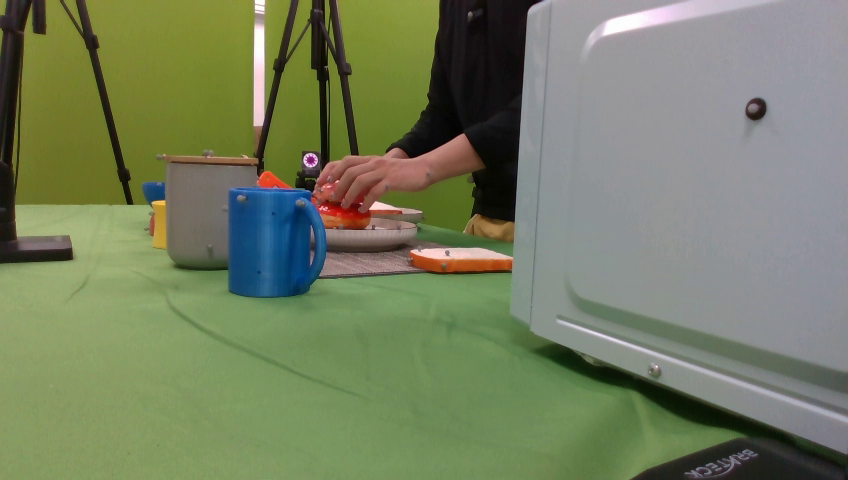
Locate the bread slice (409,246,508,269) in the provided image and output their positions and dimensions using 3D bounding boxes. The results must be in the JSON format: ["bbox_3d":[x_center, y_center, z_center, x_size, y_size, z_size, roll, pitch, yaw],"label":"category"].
[{"bbox_3d":[0.048,0.021,0.816,0.132,0.019,0.104,0,7,-24],"label":"bread slice"}]

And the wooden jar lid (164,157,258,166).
[{"bbox_3d":[-0.261,-0.093,0.746,0.108,0.020,0.108,0,9,0],"label":"wooden jar lid"}]

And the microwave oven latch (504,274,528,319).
[{"bbox_3d":[0.100,0.041,0.470,0.079,0.029,0.030,-1,7,-27],"label":"microwave oven latch"}]

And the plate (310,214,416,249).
[{"bbox_3d":[-0.116,-0.014,0.967,0.208,0.039,0.207,2,7,0],"label":"plate"}]

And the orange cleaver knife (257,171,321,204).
[{"bbox_3d":[-0.283,-0.087,1.343,0.212,0.077,0.012,24,-16,-41],"label":"orange cleaver knife"}]

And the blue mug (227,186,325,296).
[{"bbox_3d":[-0.146,0.000,0.618,0.116,0.106,0.083,7,9,32],"label":"blue mug"}]

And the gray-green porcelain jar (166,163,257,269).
[{"bbox_3d":[-0.263,-0.031,0.754,0.106,0.126,0.106,2,7,0],"label":"gray-green porcelain jar"}]

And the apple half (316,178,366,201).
[{"bbox_3d":[-0.129,-0.082,0.952,0.081,0.033,0.081,6,11,-1],"label":"apple half"}]

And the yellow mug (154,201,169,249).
[{"bbox_3d":[-0.337,-0.022,0.899,0.130,0.064,0.100,8,9,34],"label":"yellow mug"}]

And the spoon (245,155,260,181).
[{"bbox_3d":[-0.421,-0.150,1.540,0.042,0.193,0.021,-5,-35,-37],"label":"spoon"}]

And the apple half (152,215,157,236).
[{"bbox_3d":[-0.415,-0.034,1.017,0.081,0.053,0.074,1,10,-9],"label":"apple half"}]

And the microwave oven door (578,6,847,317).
[{"bbox_3d":[0.294,-0.067,0.570,0.358,0.243,0.039,-3,9,-31],"label":"microwave oven door"}]

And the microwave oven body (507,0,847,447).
[{"bbox_3d":[0.331,-0.042,0.425,0.444,0.260,0.324,-2,8,-31],"label":"microwave oven body"}]

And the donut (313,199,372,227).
[{"bbox_3d":[-0.132,-0.042,0.959,0.099,0.048,0.099,1,7,0],"label":"donut"}]

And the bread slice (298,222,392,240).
[{"bbox_3d":[-0.120,-0.015,0.971,0.106,0.018,0.135,9,9,42],"label":"bread slice"}]

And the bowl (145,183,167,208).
[{"bbox_3d":[-0.459,-0.069,1.175,0.151,0.077,0.151,2,7,0],"label":"bowl"}]

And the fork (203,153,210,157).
[{"bbox_3d":[-0.480,-0.136,1.411,0.028,0.018,0.207,1,-34,-1],"label":"fork"}]

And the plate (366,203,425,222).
[{"bbox_3d":[-0.102,-0.053,1.299,0.209,0.038,0.209,2,8,0],"label":"plate"}]
